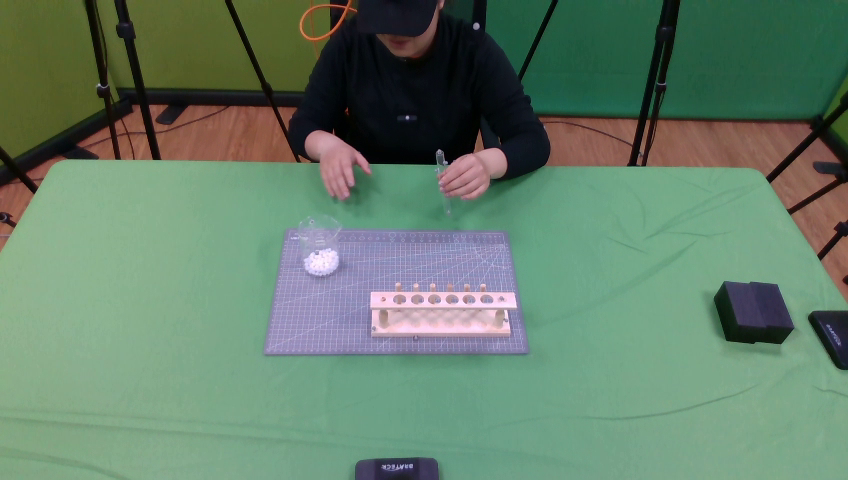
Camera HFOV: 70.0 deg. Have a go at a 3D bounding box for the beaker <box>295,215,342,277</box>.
[{"bbox_3d":[-0.191,0.013,1.114,0.084,0.101,0.073,-12,49,-17],"label":"beaker"}]

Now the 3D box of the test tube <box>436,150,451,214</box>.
[{"bbox_3d":[0.038,-0.109,1.178,0.017,0.151,0.017,-5,42,5],"label":"test tube"}]

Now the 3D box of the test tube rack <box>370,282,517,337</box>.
[{"bbox_3d":[0.030,0.116,1.041,0.242,0.085,0.066,1,46,-4],"label":"test tube rack"}]
